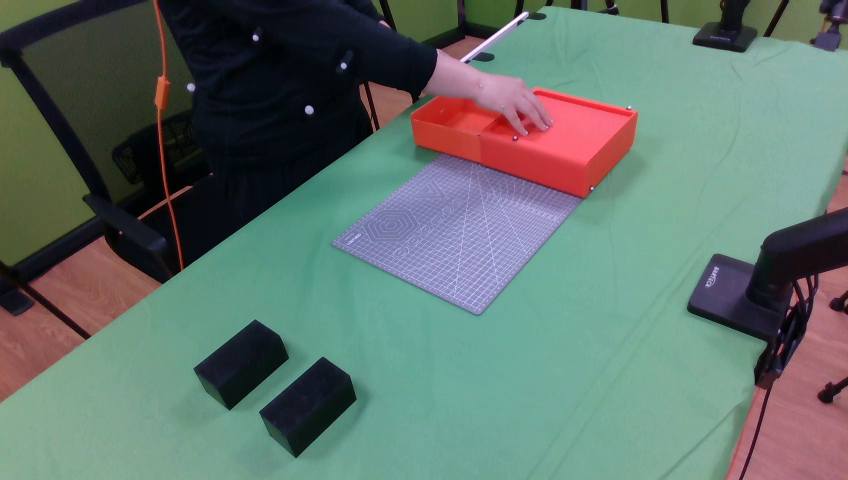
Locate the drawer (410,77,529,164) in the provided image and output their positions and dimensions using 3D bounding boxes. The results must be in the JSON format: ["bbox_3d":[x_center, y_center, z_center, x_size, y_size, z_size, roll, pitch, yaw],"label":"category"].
[{"bbox_3d":[0.114,-0.235,1.187,0.210,0.073,0.195,22,46,31],"label":"drawer"}]

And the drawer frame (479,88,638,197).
[{"bbox_3d":[0.243,-0.184,1.101,0.212,0.083,0.202,23,48,30],"label":"drawer frame"}]

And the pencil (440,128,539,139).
[{"bbox_3d":[0.128,-0.208,1.191,0.194,0.012,0.012,-3,40,7],"label":"pencil"}]
